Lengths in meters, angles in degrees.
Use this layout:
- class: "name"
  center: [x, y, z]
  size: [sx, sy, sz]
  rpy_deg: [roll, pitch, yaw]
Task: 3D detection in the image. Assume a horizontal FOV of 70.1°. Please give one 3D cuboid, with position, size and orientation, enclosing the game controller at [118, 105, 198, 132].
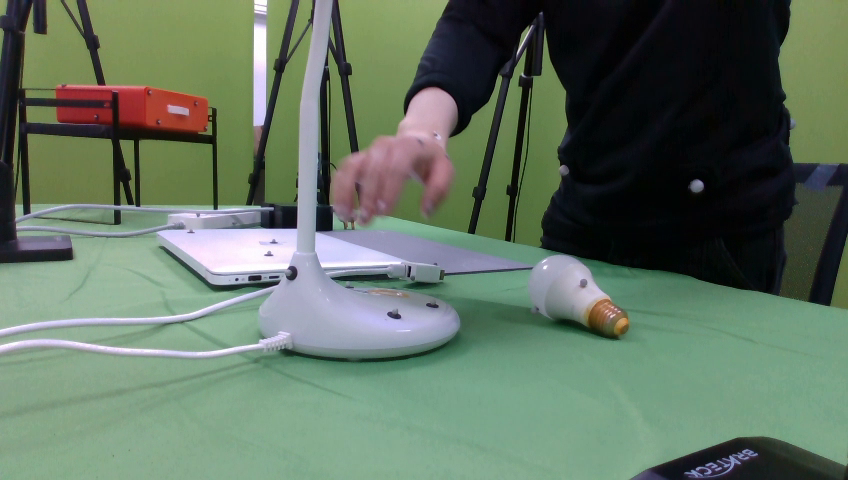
- class: "game controller"
  center: [-0.554, -0.252, 1.254]
  size: [0.097, 0.051, 0.155]
  rpy_deg: [6, 11, 19]

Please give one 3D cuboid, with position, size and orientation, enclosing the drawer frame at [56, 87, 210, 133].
- class: "drawer frame"
  center: [-0.598, -0.269, 1.261]
  size: [0.213, 0.082, 0.202]
  rpy_deg: [4, 8, 14]

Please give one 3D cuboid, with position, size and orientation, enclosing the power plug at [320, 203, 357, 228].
- class: "power plug"
  center: [-0.170, -0.046, 1.209]
  size: [0.073, 0.052, 0.035]
  rpy_deg: [-6, -17, -9]

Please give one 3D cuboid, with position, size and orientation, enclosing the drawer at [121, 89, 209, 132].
- class: "drawer"
  center: [-0.595, -0.268, 1.263]
  size: [0.211, 0.073, 0.195]
  rpy_deg: [4, 8, 15]

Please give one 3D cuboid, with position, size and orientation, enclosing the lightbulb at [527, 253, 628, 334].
- class: "lightbulb"
  center: [0.137, 0.050, 0.534]
  size: [0.060, 0.059, 0.107]
  rpy_deg: [-3, 24, -33]

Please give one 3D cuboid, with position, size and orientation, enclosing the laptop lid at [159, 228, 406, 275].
- class: "laptop lid"
  center: [-0.201, 0.007, 0.806]
  size: [0.243, 0.013, 0.355]
  rpy_deg: [-1, 8, -31]

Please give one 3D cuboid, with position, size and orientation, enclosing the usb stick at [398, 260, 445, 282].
- class: "usb stick"
  center: [-0.001, 0.036, 0.696]
  size: [0.027, 0.021, 0.059]
  rpy_deg: [9, 1, 43]

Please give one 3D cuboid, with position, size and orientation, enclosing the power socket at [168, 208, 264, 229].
- class: "power socket"
  center: [-0.381, -0.038, 1.128]
  size: [0.072, 0.032, 0.227]
  rpy_deg: [4, 8, 16]

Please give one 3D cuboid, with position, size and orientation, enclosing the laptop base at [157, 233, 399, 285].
- class: "laptop base"
  center: [-0.204, 0.019, 0.806]
  size: [0.237, 0.023, 0.352]
  rpy_deg: [0, 7, -33]

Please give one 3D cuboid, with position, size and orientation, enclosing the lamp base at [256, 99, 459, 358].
- class: "lamp base"
  center: [-0.055, -0.013, 0.463]
  size: [0.160, 0.180, 0.180]
  rpy_deg: [6, 11, 27]
